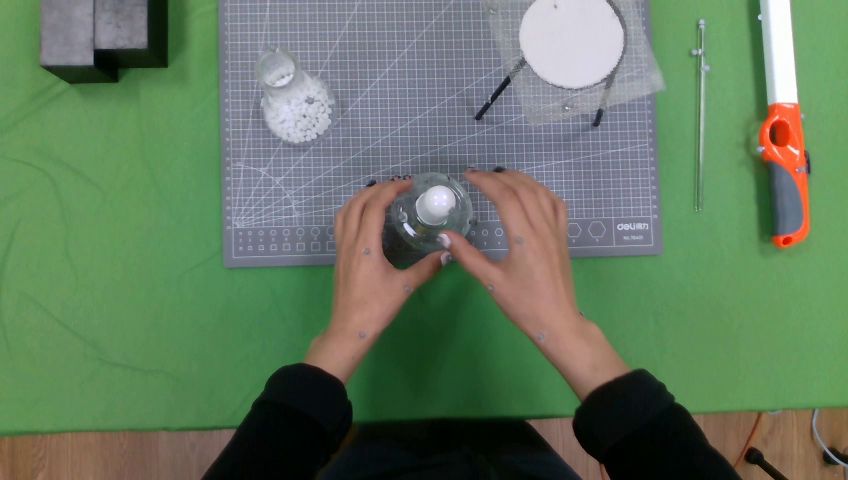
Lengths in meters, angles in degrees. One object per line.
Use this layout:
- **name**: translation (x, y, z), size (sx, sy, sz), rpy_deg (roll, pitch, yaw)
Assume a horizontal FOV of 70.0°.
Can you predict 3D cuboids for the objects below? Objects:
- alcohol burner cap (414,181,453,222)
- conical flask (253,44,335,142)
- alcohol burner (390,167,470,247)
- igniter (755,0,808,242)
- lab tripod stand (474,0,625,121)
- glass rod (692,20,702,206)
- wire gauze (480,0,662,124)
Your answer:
- **alcohol burner cap**: translation (0.010, -0.036, 0.532), size (0.034, 0.048, 0.033), rpy_deg (2, 82, -11)
- **conical flask**: translation (-0.126, -0.140, 0.562), size (0.075, 0.122, 0.075), rpy_deg (0, 87, -2)
- **alcohol burner**: translation (0.007, -0.032, 0.567), size (0.078, 0.119, 0.078), rpy_deg (0, 86, -4)
- **igniter**: translation (0.372, -0.136, 0.635), size (0.057, 0.025, 0.276), rpy_deg (-1, 87, -13)
- **lab tripod stand**: translation (0.119, -0.167, 0.569), size (0.148, 0.131, 0.148), rpy_deg (0, 89, -2)
- **glass rod**: translation (0.288, -0.135, 0.640), size (0.008, 0.008, 0.199), rpy_deg (3, 87, -3)
- **wire gauze**: translation (0.122, -0.168, 0.502), size (0.125, 0.011, 0.121), rpy_deg (-18, 88, -3)
